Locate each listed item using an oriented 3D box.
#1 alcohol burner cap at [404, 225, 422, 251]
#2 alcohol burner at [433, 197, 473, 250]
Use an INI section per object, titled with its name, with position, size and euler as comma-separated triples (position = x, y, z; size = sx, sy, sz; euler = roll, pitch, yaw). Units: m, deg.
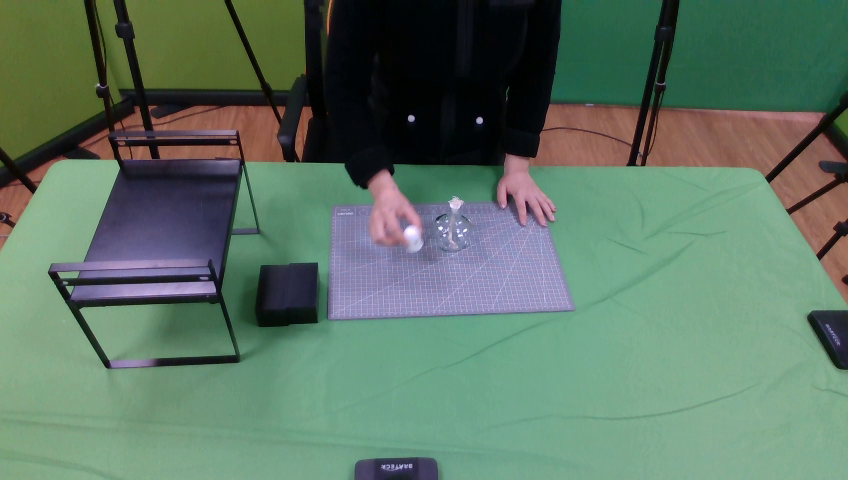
[alcohol burner cap]
position = -0.021, -0.007, 1.096
size = 0.034, 0.048, 0.033
euler = -5, 49, 6
[alcohol burner]
position = 0.058, -0.038, 1.169
size = 0.078, 0.119, 0.077
euler = 3, 45, -3
